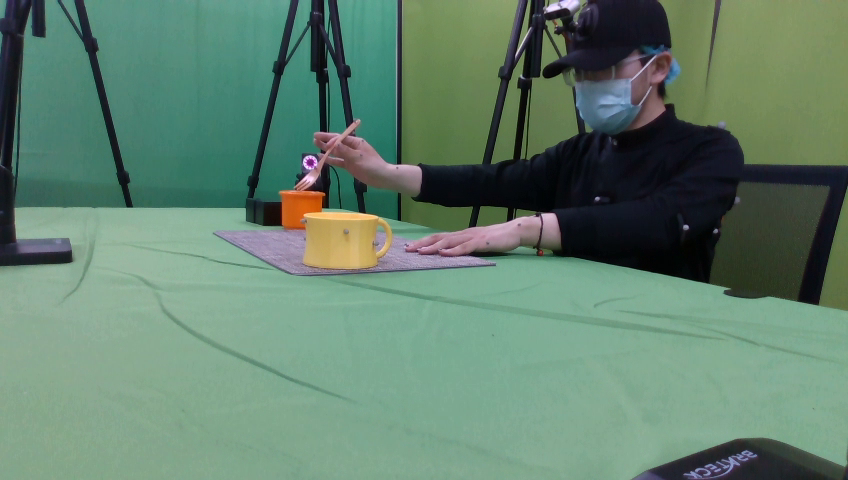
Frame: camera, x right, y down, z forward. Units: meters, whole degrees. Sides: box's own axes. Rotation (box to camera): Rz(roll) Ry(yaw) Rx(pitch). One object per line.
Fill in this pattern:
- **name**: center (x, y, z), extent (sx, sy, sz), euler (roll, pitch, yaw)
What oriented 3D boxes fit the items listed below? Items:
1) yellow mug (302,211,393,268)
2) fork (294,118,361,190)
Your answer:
- **yellow mug**: center (-0.098, -0.003, 0.810), extent (0.131, 0.064, 0.099), euler (-2, 8, -37)
- **fork**: center (-0.191, -0.175, 1.216), extent (0.028, 0.207, 0.019), euler (23, -22, 29)
